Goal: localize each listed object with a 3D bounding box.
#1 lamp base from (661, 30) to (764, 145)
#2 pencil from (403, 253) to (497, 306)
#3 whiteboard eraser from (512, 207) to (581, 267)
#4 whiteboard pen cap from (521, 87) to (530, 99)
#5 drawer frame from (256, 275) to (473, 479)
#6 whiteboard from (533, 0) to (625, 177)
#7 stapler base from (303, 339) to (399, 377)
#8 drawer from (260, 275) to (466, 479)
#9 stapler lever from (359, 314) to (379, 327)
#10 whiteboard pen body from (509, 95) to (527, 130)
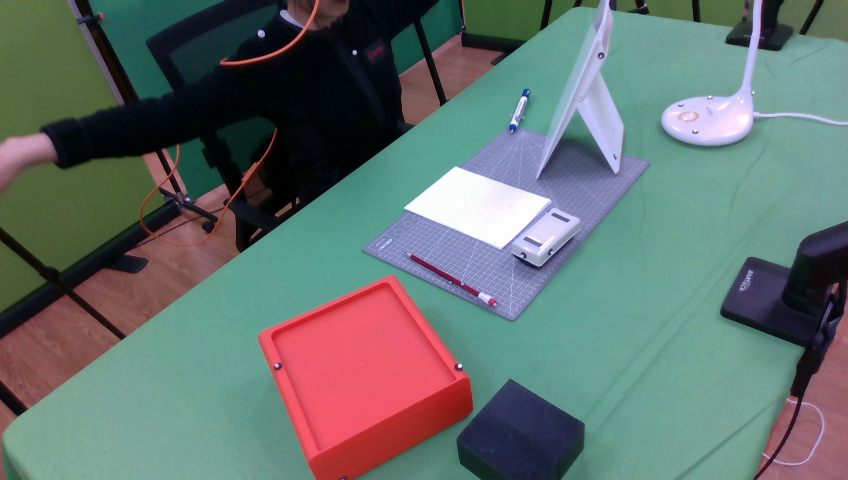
[{"bbox_3d":[0.535,-0.287,1.096,0.179,0.181,0.159,-10,40,-4],"label":"lamp base"},{"bbox_3d":[0.034,0.056,0.914,0.192,0.012,0.012,27,52,38],"label":"pencil"},{"bbox_3d":[0.189,-0.003,0.930,0.055,0.042,0.113,27,52,36],"label":"whiteboard eraser"},{"bbox_3d":[0.218,-0.313,1.301,0.018,0.018,0.033,7,47,18],"label":"whiteboard pen cap"},{"bbox_3d":[-0.078,0.164,0.756,0.202,0.083,0.211,-23,43,-17],"label":"drawer frame"},{"bbox_3d":[0.321,-0.258,1.049,0.144,0.306,0.217,20,45,4],"label":"whiteboard"},{"bbox_3d":[-0.099,0.150,0.805,0.130,0.024,0.041,-12,25,1],"label":"stapler base"},{"bbox_3d":[-0.080,0.163,0.760,0.195,0.073,0.210,-22,42,-16],"label":"drawer"},{"bbox_3d":[-0.106,0.127,0.792,0.118,0.040,0.026,-14,26,2],"label":"stapler lever"},{"bbox_3d":[0.199,-0.273,1.261,0.017,0.017,0.140,7,44,19],"label":"whiteboard pen body"}]
